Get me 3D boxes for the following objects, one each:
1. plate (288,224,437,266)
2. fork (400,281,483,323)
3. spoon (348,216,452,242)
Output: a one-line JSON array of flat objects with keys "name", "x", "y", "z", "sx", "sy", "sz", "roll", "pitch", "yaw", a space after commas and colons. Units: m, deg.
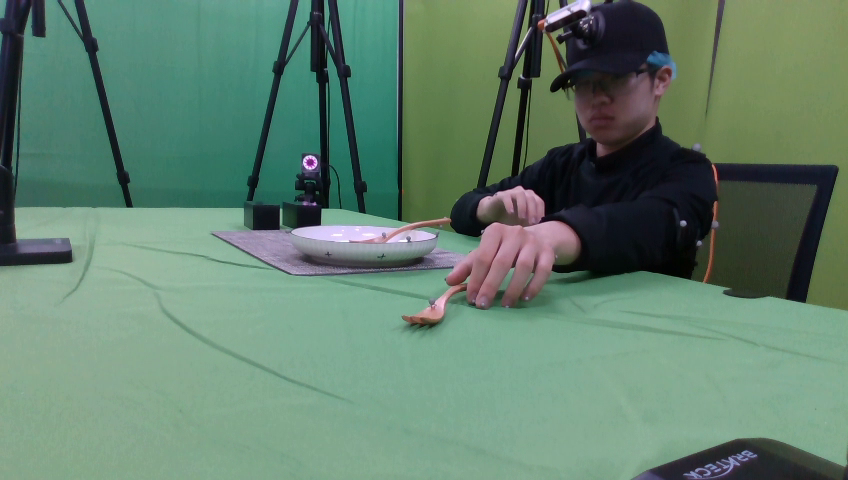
[{"name": "plate", "x": -0.086, "y": 0.007, "z": 0.852, "sx": 0.208, "sy": 0.039, "sz": 0.207, "roll": 2, "pitch": 7, "yaw": 0}, {"name": "fork", "x": 0.025, "y": 0.057, "z": 0.590, "sx": 0.028, "sy": 0.018, "sz": 0.208, "roll": -5, "pitch": 5, "yaw": 22}, {"name": "spoon", "x": -0.030, "y": -0.016, "z": 0.923, "sx": 0.195, "sy": 0.021, "sz": 0.041, "roll": -19, "pitch": 15, "yaw": -36}]
